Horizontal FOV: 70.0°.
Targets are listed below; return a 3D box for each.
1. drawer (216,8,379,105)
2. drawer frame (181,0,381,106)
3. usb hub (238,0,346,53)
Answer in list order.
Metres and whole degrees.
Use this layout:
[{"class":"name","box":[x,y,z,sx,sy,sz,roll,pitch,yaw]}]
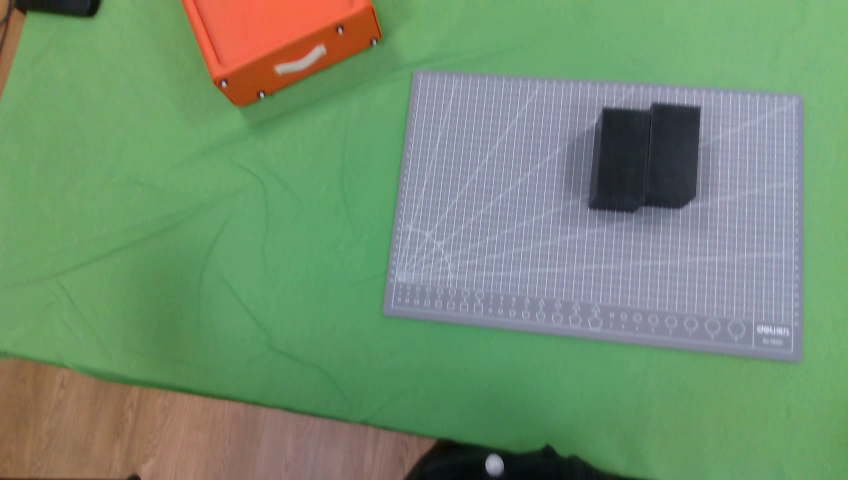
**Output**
[{"class":"drawer","box":[-0.186,-0.299,0.738,0.194,0.073,0.210,-26,76,0]},{"class":"drawer frame","box":[-0.187,-0.302,0.735,0.202,0.083,0.212,-26,77,0]},{"class":"usb hub","box":[-0.161,-0.278,0.740,0.125,0.025,0.049,-20,91,9]}]
